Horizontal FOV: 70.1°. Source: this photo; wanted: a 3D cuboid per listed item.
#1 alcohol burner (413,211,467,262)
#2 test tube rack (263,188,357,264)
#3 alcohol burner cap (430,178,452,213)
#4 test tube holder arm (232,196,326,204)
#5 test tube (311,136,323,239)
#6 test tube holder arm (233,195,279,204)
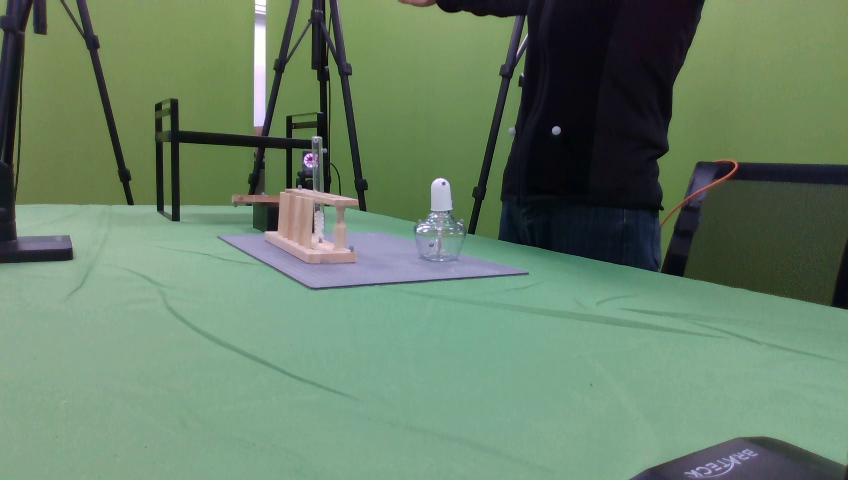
[{"bbox_3d":[0.022,-0.029,0.864,0.078,0.119,0.078,1,7,0],"label":"alcohol burner"},{"bbox_3d":[-0.175,-0.027,0.890,0.067,0.085,0.241,0,8,-28],"label":"test tube rack"},{"bbox_3d":[0.024,-0.064,0.859,0.034,0.048,0.034,-1,12,1],"label":"alcohol burner cap"},{"bbox_3d":[-0.271,-0.076,1.145,0.179,0.015,0.013,-1,1,-32],"label":"test tube holder arm"},{"bbox_3d":[-0.155,-0.076,0.879,0.017,0.150,0.017,0,7,0],"label":"test tube"},{"bbox_3d":[-0.307,-0.075,1.117,0.088,0.015,0.010,-1,1,-31],"label":"test tube holder arm"}]
